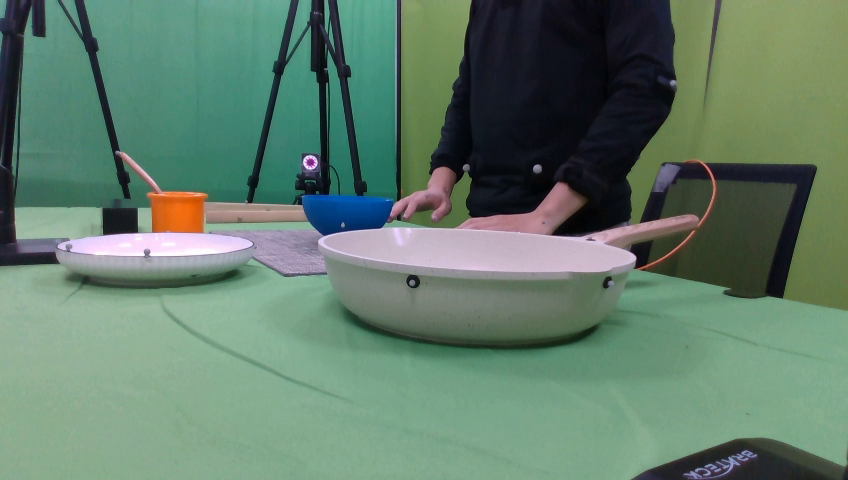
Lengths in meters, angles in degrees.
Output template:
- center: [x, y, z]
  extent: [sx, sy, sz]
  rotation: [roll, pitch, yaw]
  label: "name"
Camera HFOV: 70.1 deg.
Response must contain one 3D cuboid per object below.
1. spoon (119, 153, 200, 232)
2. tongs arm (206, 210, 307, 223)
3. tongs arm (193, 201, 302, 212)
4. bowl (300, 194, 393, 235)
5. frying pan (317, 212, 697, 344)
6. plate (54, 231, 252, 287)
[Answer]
- center: [-0.439, -0.077, 1.000]
  extent: [0.021, 0.193, 0.042]
  rotation: [-43, -7, 21]
  label: "spoon"
- center: [-0.297, -0.057, 1.360]
  extent: [0.390, 0.028, 0.028]
  rotation: [-4, 7, -39]
  label: "tongs arm"
- center: [-0.338, -0.072, 1.429]
  extent: [0.387, 0.026, 0.050]
  rotation: [0, 9, -26]
  label: "tongs arm"
- center: [-0.128, -0.034, 0.995]
  extent: [0.151, 0.077, 0.151]
  rotation: [2, 7, 0]
  label: "bowl"
- center: [0.133, 0.013, 0.629]
  extent: [0.490, 0.102, 0.305]
  rotation: [-12, 14, -31]
  label: "frying pan"
- center: [-0.309, 0.020, 0.705]
  extent: [0.208, 0.039, 0.207]
  rotation: [3, 7, 0]
  label: "plate"
